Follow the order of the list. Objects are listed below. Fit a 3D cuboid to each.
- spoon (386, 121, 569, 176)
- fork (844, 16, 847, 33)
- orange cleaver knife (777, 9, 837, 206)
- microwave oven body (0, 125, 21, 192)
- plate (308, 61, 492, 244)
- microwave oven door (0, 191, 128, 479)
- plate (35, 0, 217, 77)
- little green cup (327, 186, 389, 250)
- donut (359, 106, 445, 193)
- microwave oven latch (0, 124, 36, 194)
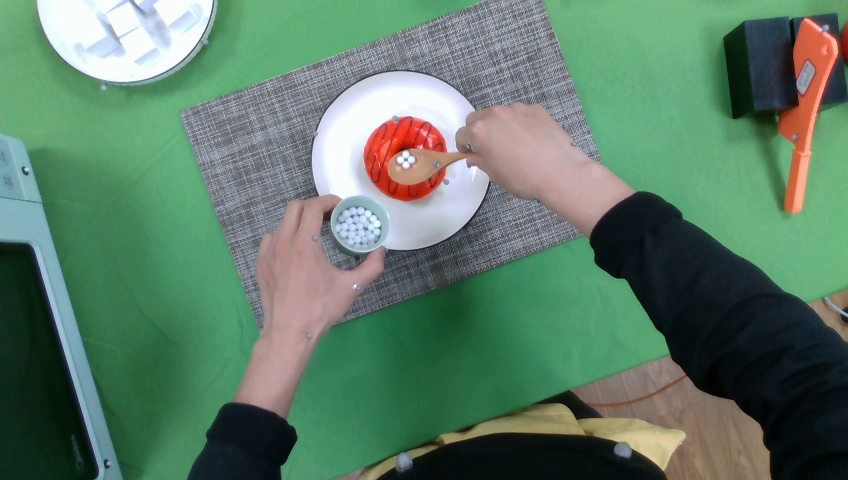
[{"bbox_3d":[0.048,-0.095,0.605,0.193,0.022,0.041,-7,74,29],"label":"spoon"},{"bbox_3d":[0.573,-0.240,0.646,0.206,0.019,0.028,9,88,42],"label":"fork"},{"bbox_3d":[0.418,-0.143,0.678,0.012,0.076,0.213,-5,119,3],"label":"orange cleaver knife"},{"bbox_3d":[-0.562,0.121,0.591,0.326,0.260,0.441,-17,90,0],"label":"microwave oven body"},{"bbox_3d":[-0.027,-0.099,0.699,0.209,0.038,0.209,0,90,1],"label":"plate"},{"bbox_3d":[-0.410,0.119,0.585,0.039,0.244,0.355,-17,89,0],"label":"microwave oven door"},{"bbox_3d":[-0.340,-0.290,0.706,0.208,0.039,0.207,0,90,0],"label":"plate"},{"bbox_3d":[-0.069,-0.020,0.618,0.062,0.039,0.061,5,70,-14],"label":"little green cup"},{"bbox_3d":[-0.024,-0.102,0.688,0.099,0.048,0.099,0,92,1],"label":"donut"},{"bbox_3d":[-0.470,-0.090,0.687,0.030,0.029,0.079,-16,90,0],"label":"microwave oven latch"}]
